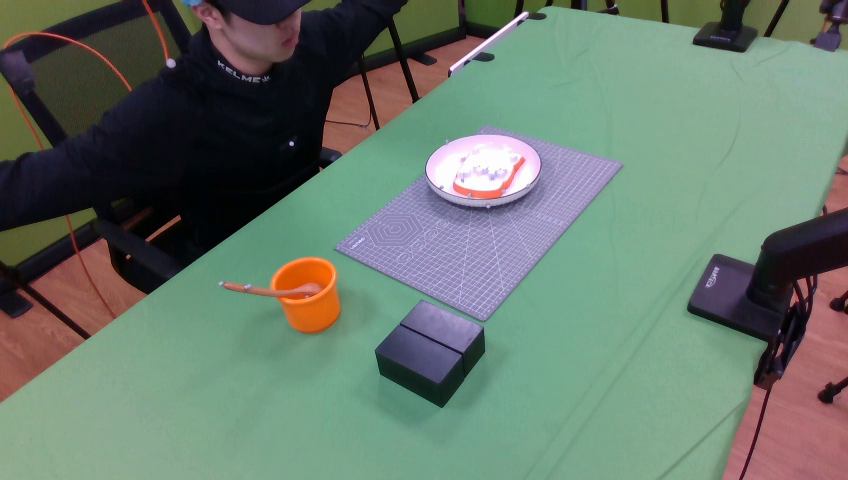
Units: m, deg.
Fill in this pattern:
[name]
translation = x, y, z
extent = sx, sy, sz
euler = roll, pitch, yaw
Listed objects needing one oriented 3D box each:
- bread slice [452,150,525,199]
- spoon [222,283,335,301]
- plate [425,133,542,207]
[bread slice]
translation = 0.112, -0.119, 1.079
extent = 0.104, 0.019, 0.131
euler = 11, 43, 21
[spoon]
translation = -0.188, 0.070, 0.810
extent = 0.041, 0.021, 0.195
euler = 29, 12, 33
[plate]
translation = 0.106, -0.121, 1.079
extent = 0.209, 0.038, 0.208
euler = -4, 41, 4
